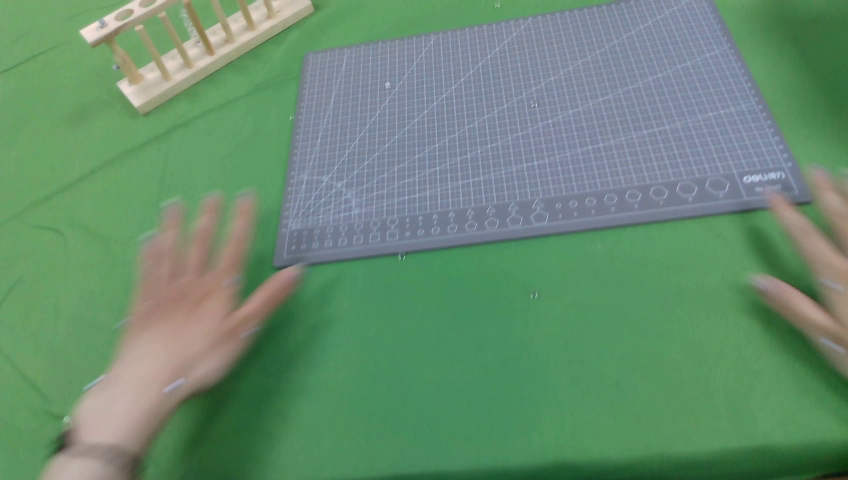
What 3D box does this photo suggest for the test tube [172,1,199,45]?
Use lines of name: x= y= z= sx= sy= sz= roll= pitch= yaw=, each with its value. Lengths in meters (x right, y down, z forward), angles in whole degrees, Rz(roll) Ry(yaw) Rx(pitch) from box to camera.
test tube: x=-0.286 y=-0.286 z=0.674 sx=0.017 sy=0.152 sz=0.017 roll=-6 pitch=48 yaw=7

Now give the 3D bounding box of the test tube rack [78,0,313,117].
test tube rack: x=-0.258 y=-0.252 z=0.706 sx=0.242 sy=0.086 sz=0.066 roll=-38 pitch=56 yaw=-16
